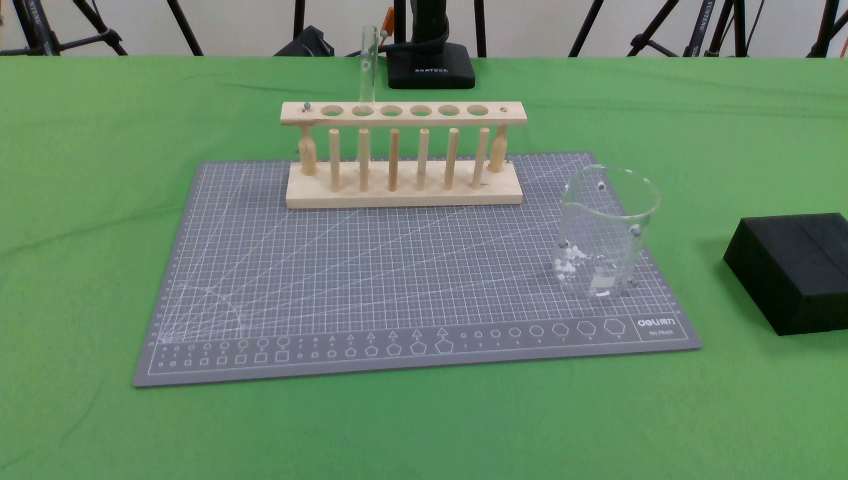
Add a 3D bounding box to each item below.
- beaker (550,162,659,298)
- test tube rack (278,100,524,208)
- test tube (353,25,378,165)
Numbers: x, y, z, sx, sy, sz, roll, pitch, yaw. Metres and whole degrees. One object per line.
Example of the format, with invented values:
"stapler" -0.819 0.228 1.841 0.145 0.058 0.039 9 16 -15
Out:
"beaker" 0.149 -0.005 0.526 0.084 0.101 0.073 -8 42 -11
"test tube rack" -0.022 -0.089 0.620 0.243 0.086 0.066 -2 42 -6
"test tube" -0.059 -0.136 0.597 0.017 0.151 0.017 6 40 -4
